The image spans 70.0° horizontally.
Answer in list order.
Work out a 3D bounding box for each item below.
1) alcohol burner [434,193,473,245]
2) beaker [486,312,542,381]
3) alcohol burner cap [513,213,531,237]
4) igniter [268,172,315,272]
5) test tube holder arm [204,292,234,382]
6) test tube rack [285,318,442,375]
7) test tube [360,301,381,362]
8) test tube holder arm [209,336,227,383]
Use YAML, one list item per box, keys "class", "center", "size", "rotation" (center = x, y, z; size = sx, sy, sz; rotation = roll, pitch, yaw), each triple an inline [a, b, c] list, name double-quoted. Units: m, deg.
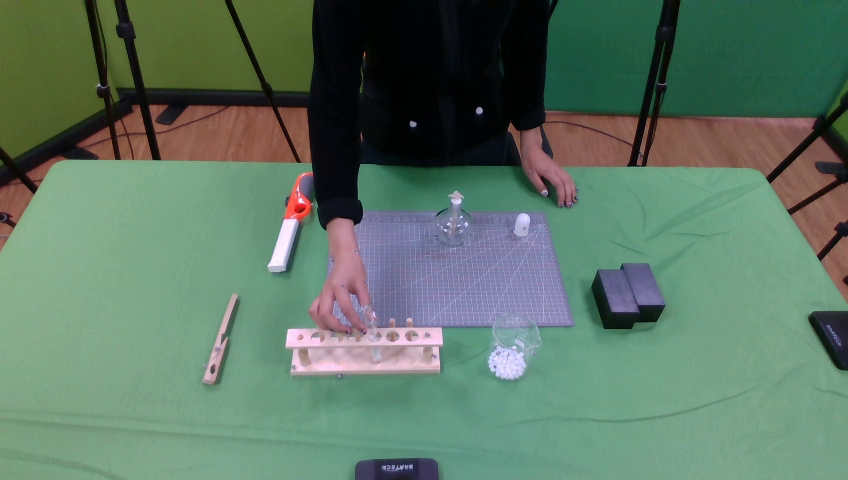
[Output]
- class: "alcohol burner"
  center: [0.059, -0.046, 1.180]
  size: [0.078, 0.120, 0.077]
  rotation: [1, 48, -1]
- class: "beaker"
  center: [0.144, 0.177, 0.985]
  size: [0.084, 0.101, 0.074]
  rotation: [22, 49, 16]
- class: "alcohol burner cap"
  center: [0.200, -0.034, 1.227]
  size: [0.034, 0.048, 0.033]
  rotation: [2, 45, -2]
- class: "igniter"
  center: [-0.264, -0.045, 1.219]
  size: [0.057, 0.025, 0.275]
  rotation: [-2, 45, 8]
- class: "test tube holder arm"
  center: [-0.343, 0.159, 1.020]
  size: [0.013, 0.015, 0.177]
  rotation: [27, 39, -27]
- class: "test tube rack"
  center: [-0.095, 0.168, 0.986]
  size: [0.242, 0.085, 0.066]
  rotation: [0, 46, -4]
- class: "test tube"
  center: [-0.082, 0.145, 0.939]
  size: [0.017, 0.151, 0.017]
  rotation: [-2, 47, 3]
- class: "test tube holder arm"
  center: [-0.338, 0.193, 0.991]
  size: [0.010, 0.015, 0.087]
  rotation: [28, 39, -26]
